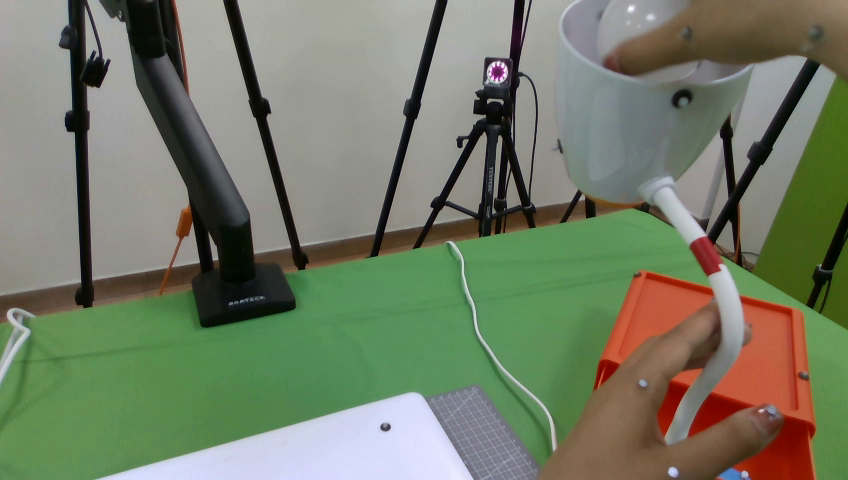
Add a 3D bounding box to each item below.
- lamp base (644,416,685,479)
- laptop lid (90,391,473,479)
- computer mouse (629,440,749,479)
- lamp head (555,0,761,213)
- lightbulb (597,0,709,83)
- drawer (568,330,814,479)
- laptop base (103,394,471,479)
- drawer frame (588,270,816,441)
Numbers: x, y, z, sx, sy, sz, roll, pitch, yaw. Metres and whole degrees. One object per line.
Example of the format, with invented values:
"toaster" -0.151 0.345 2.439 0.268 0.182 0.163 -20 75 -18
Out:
"lamp base" 0.159 0.221 0.396 0.161 0.181 0.177 0 25 -8
"laptop lid" -0.119 0.241 0.483 0.358 0.013 0.239 -9 32 -21
"computer mouse" 0.242 0.221 0.549 0.117 0.041 0.062 14 29 13
"lamp head" 0.135 -0.077 0.382 0.112 0.124 0.111 -1 42 2
"lightbulb" 0.131 -0.101 0.360 0.059 0.109 0.059 -4 54 5
"drawer" 0.262 0.182 0.594 0.193 0.074 0.211 13 29 21
"laptop base" -0.120 0.250 0.491 0.355 0.023 0.233 -10 34 -23
"drawer frame" 0.311 0.134 0.683 0.200 0.083 0.213 14 29 21
